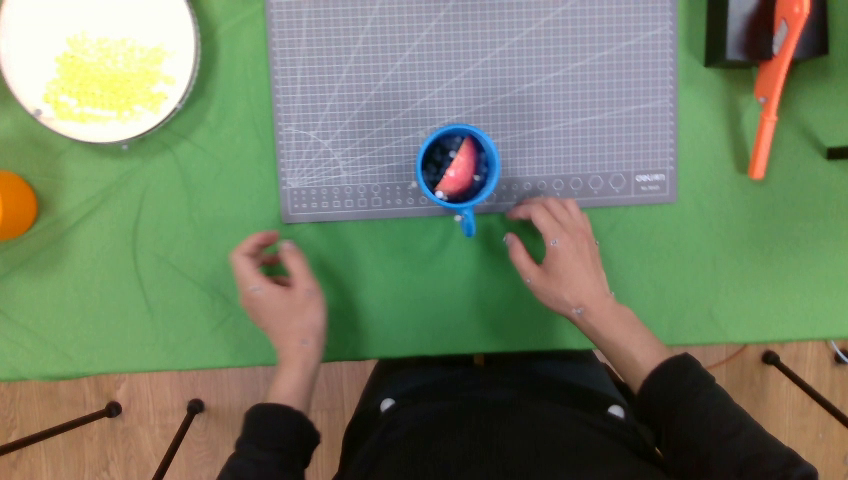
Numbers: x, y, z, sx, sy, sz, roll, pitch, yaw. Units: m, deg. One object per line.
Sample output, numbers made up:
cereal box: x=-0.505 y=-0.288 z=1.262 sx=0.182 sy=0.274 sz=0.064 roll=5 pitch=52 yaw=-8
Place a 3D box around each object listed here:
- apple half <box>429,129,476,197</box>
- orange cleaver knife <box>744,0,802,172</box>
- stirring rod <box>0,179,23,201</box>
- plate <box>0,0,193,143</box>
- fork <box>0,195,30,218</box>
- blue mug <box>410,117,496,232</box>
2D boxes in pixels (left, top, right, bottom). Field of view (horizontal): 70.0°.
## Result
apple half: x=0.036 y=-0.074 z=0.626 sx=0.033 sy=0.081 sz=0.081 roll=32 pitch=95 yaw=2
orange cleaver knife: x=0.363 y=-0.178 z=0.645 sx=0.012 sy=0.076 sz=0.213 roll=-1 pitch=123 yaw=7
stirring rod: x=-0.487 y=-0.011 z=0.607 sx=0.014 sy=0.006 sz=0.175 roll=48 pitch=51 yaw=-8
plate: x=-0.345 y=-0.207 z=0.638 sx=0.209 sy=0.038 sz=0.209 roll=0 pitch=97 yaw=-2
fork: x=-0.510 y=-0.046 z=0.596 sx=0.209 sy=0.018 sz=0.028 roll=10 pitch=94 yaw=-46
blue mug: x=0.031 y=-0.065 z=0.633 sx=0.082 sy=0.105 sz=0.117 roll=-14 pitch=97 yaw=0
